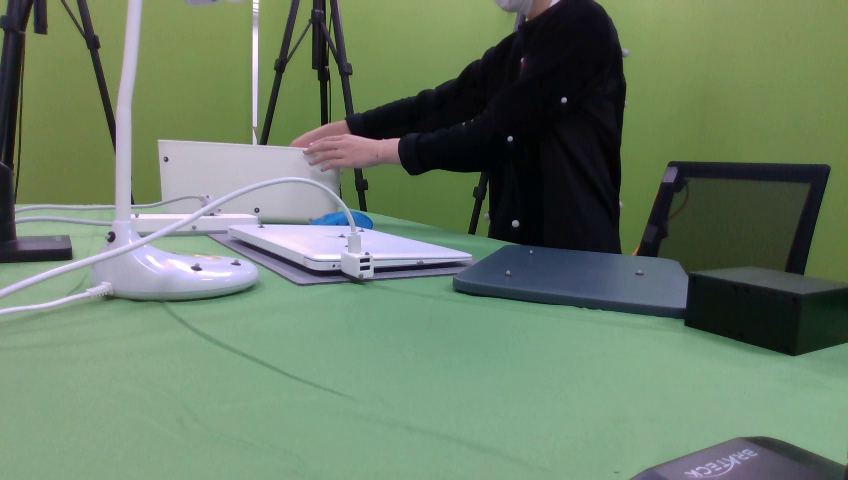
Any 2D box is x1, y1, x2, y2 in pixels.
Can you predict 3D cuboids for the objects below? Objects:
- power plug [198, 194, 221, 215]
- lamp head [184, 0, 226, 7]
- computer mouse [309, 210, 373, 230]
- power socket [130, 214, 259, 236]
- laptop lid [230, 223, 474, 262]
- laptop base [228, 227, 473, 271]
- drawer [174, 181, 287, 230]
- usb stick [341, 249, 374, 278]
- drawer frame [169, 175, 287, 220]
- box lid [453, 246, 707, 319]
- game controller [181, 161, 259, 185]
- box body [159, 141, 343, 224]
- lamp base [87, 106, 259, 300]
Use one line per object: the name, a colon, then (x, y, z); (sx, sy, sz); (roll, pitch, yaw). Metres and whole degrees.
power plug: (-0.386, -0.055, 1.088); (0.035, 0.052, 0.072); (-2, 7, -24)
lamp head: (-0.229, -0.320, 0.627); (0.112, 0.112, 0.123); (6, -35, 26)
computer mouse: (-0.157, -0.034, 1.139); (0.118, 0.041, 0.062); (-6, 12, -28)
power socket: (-0.397, -0.028, 1.048); (0.228, 0.032, 0.072); (-3, 7, -35)
laptop lid: (-0.121, 0.000, 0.888); (0.243, 0.013, 0.355); (1, 7, -33)
laptop base: (-0.124, 0.011, 0.888); (0.237, 0.023, 0.352); (2, 6, -35)
drawer: (-0.412, -0.078, 1.323); (0.212, 0.073, 0.194); (-9, 10, -8)
usb stick: (-0.079, 0.026, 0.687); (0.021, 0.027, 0.059); (-7, 9, -30)
drawer frame: (-0.415, -0.096, 1.318); (0.214, 0.082, 0.201); (-5, 6, -9)
box lid: (0.203, 0.044, 0.780); (0.262, 0.015, 0.372); (5, 7, 17)
game controller: (-0.444, -0.144, 1.306); (0.156, 0.051, 0.096); (-2, 5, -34)
box body: (-0.365, -0.128, 1.337); (0.365, 0.160, 0.253); (2, 7, -8)
lamp base: (-0.254, -0.039, 0.603); (0.160, 0.180, 0.179); (4, 10, 18)
